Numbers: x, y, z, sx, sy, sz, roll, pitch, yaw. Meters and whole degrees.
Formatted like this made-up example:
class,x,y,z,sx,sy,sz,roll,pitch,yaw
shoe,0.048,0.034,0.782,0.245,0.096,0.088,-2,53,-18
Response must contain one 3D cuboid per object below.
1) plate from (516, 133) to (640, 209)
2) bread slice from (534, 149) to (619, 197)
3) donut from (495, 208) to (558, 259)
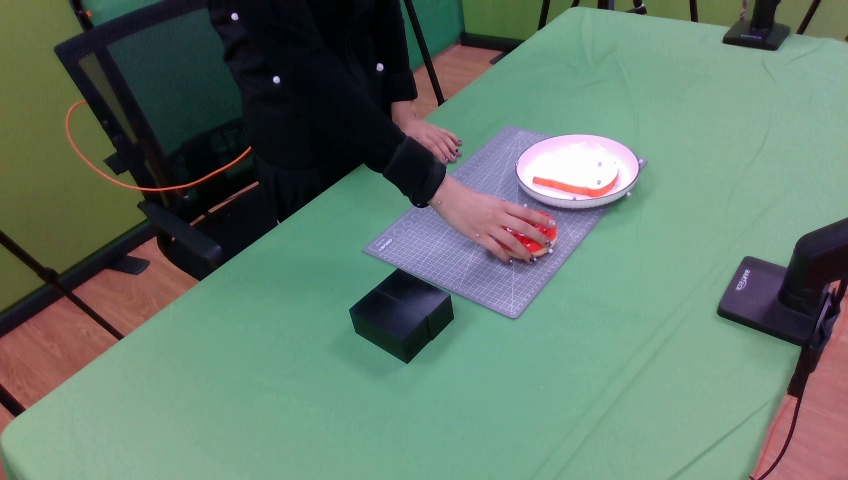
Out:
class,x,y,z,sx,sy,sz,roll,pitch,yaw
plate,0.266,-0.117,1.055,0.209,0.038,0.208,-5,40,5
bread slice,0.274,-0.118,1.058,0.130,0.019,0.105,19,48,31
donut,0.160,-0.011,0.945,0.099,0.048,0.098,-6,41,6
